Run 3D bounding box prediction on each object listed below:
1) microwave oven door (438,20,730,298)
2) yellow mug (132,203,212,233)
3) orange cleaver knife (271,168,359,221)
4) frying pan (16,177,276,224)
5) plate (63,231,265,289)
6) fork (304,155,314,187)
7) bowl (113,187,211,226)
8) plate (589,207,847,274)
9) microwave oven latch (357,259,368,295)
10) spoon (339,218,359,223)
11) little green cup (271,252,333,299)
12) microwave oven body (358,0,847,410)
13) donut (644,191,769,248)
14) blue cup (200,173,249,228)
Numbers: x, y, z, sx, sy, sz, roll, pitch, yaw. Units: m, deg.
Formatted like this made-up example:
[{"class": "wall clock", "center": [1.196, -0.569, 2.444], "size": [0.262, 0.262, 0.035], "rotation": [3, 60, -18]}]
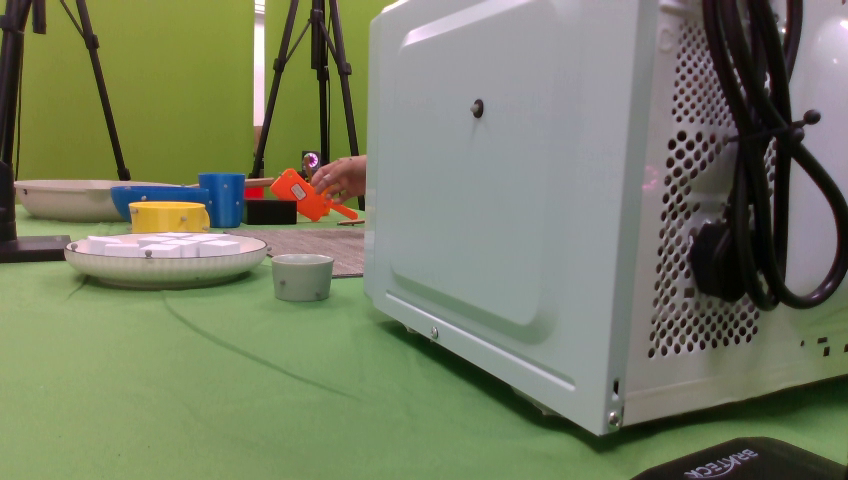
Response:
[{"class": "microwave oven door", "center": [0.181, -0.076, 0.618], "size": [0.358, 0.243, 0.039], "rotation": [-2, 8, -28]}, {"class": "yellow mug", "center": [-0.356, -0.020, 0.878], "size": [0.099, 0.064, 0.131], "rotation": [4, 7, 22]}, {"class": "orange cleaver knife", "center": [-0.236, -0.084, 1.333], "size": [0.212, 0.077, 0.012], "rotation": [31, -9, -32]}, {"class": "frying pan", "center": [-0.553, -0.097, 1.265], "size": [0.490, 0.102, 0.305], "rotation": [-10, 13, -24]}, {"class": "plate", "center": [-0.288, 0.021, 0.687], "size": [0.208, 0.039, 0.207], "rotation": [2, 8, 0]}, {"class": "fork", "center": [-0.268, -0.134, 1.447], "size": [0.028, 0.018, 0.207], "rotation": [1, -36, -1]}, {"class": "bowl", "center": [-0.436, -0.046, 1.013], "size": [0.151, 0.077, 0.151], "rotation": [2, 7, 0]}, {"class": "plate", "center": [0.245, -0.002, 0.510], "size": [0.209, 0.038, 0.209], "rotation": [2, 7, 0]}, {"class": "microwave oven latch", "center": [-0.019, 0.031, 0.529], "size": [0.079, 0.029, 0.030], "rotation": [-1, 7, -26]}, {"class": "spoon", "center": [-0.087, -0.041, 1.268], "size": [0.193, 0.021, 0.041], "rotation": [4, 18, 14]}, {"class": "little green cup", "center": [-0.122, 0.035, 0.605], "size": [0.061, 0.038, 0.061], "rotation": [3, 6, 0]}, {"class": "microwave oven body", "center": [0.210, -0.051, 0.471], "size": [0.444, 0.260, 0.324], "rotation": [-1, 7, -28]}, {"class": "donut", "center": [0.240, -0.017, 0.518], "size": [0.099, 0.048, 0.099], "rotation": [2, 4, 0]}, {"class": "blue cup", "center": [-0.380, -0.076, 1.155], "size": [0.093, 0.100, 0.092], "rotation": [0, 8, 0]}]
